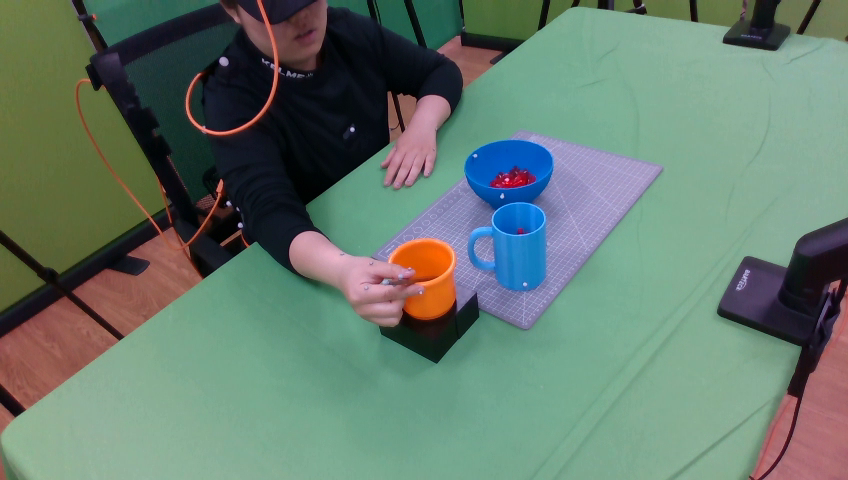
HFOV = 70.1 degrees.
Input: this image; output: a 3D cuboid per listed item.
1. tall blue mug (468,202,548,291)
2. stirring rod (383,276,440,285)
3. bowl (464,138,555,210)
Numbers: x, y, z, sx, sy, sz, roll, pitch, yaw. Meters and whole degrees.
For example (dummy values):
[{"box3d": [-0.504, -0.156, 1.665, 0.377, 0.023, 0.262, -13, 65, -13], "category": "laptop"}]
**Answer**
[{"box3d": [0.125, 0.015, 0.869, 0.107, 0.108, 0.077, -21, 42, -14], "category": "tall blue mug"}, {"box3d": [-0.012, 0.050, 0.757, 0.014, 0.006, 0.177, 5, 0, 19], "category": "stirring rod"}, {"box3d": [0.145, -0.100, 1.025, 0.151, 0.077, 0.150, -5, 40, 5], "category": "bowl"}]
